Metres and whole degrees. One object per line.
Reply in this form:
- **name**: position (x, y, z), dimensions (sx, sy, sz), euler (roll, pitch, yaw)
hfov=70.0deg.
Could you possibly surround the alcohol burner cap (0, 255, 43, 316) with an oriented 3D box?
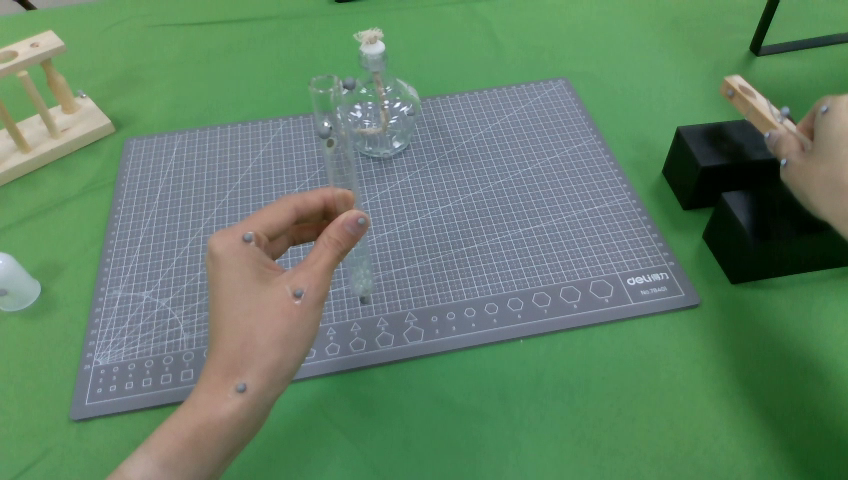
- **alcohol burner cap**: position (-0.318, 0.032, 0.460), dimensions (0.034, 0.048, 0.033), euler (-1, 49, 1)

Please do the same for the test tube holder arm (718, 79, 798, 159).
- **test tube holder arm**: position (0.259, -0.095, 0.467), dimensions (0.010, 0.015, 0.087), euler (-23, 51, -3)

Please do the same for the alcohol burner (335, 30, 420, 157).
- **alcohol burner**: position (-0.043, -0.133, 0.538), dimensions (0.078, 0.120, 0.077), euler (0, 50, 0)

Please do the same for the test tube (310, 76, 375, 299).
- **test tube**: position (-0.043, -0.020, 0.337), dimensions (0.017, 0.151, 0.017), euler (-2, 43, 2)

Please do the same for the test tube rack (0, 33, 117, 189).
- **test tube rack**: position (-0.418, -0.088, 0.538), dimensions (0.242, 0.086, 0.066), euler (-35, 56, -25)

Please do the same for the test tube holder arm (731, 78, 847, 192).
- **test tube holder arm**: position (0.280, -0.066, 0.440), dimensions (0.013, 0.015, 0.176), euler (-25, 51, -4)
